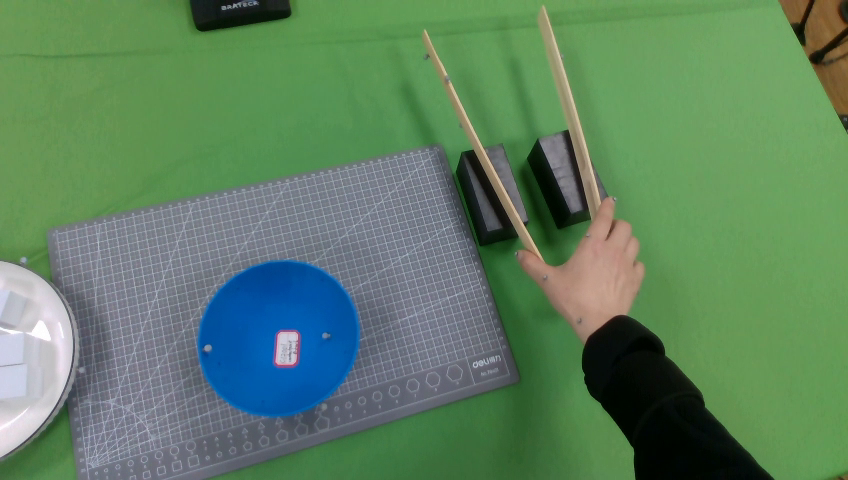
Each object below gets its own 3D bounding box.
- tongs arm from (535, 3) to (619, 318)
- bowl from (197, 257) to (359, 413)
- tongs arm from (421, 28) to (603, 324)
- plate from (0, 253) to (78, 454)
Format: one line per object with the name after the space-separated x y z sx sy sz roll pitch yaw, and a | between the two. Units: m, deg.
0.166 -0.101 0.683 0.028 0.028 0.385 -5 73 -11 | tongs arm
-0.140 0.099 0.609 0.151 0.077 0.150 2 71 -6 | bowl
0.090 -0.080 0.671 0.051 0.026 0.382 -19 75 -12 | tongs arm
-0.445 0.115 0.594 0.208 0.039 0.206 2 72 -4 | plate
